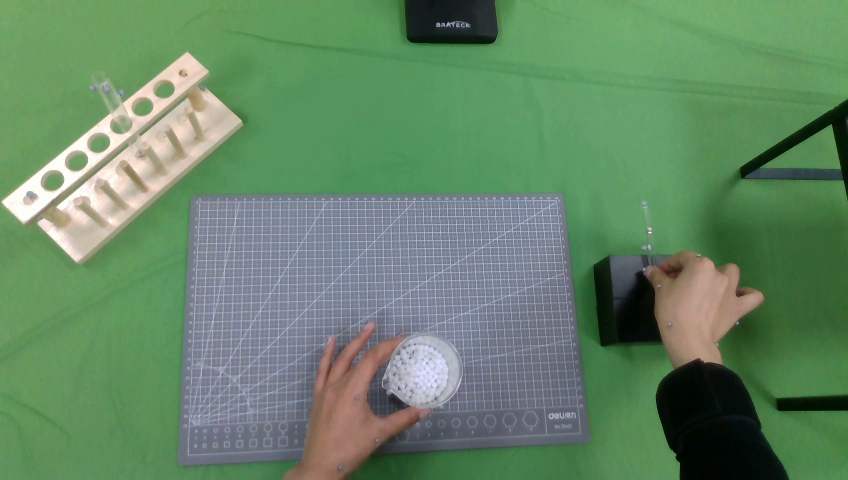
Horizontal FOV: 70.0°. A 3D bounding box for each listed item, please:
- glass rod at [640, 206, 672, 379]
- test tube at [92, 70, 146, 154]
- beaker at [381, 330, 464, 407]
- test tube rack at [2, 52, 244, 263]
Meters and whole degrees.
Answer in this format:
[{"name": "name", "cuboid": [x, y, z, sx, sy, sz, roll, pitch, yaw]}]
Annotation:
[{"name": "glass rod", "cuboid": [0.265, 0.057, 0.691, 0.008, 0.008, 0.199, -4, 79, -8]}, {"name": "test tube", "cuboid": [-0.312, -0.128, 0.628, 0.017, 0.151, 0.017, 3, 71, -9]}, {"name": "beaker", "cuboid": [-0.007, 0.141, 0.640, 0.084, 0.100, 0.073, -17, 77, -11]}, {"name": "test tube rack", "cuboid": [-0.319, -0.090, 0.669, 0.066, 0.085, 0.242, 43, 75, 6]}]
